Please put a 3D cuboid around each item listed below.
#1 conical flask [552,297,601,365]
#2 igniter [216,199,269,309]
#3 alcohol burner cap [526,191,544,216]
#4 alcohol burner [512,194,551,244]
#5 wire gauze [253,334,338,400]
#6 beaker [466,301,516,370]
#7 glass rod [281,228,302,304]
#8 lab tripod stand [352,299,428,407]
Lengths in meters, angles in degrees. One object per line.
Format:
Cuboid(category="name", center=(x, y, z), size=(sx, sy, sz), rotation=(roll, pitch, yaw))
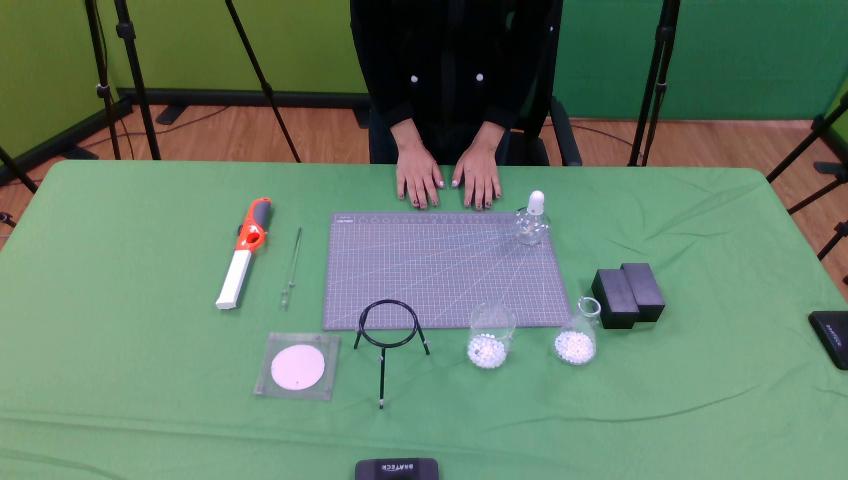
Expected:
Cuboid(category="conical flask", center=(0.261, 0.147, 1.009), size=(0.075, 0.122, 0.075), rotation=(2, 46, -2))
Cuboid(category="igniter", center=(-0.342, 0.016, 1.153), size=(0.057, 0.025, 0.275), rotation=(-3, 45, 7))
Cuboid(category="alcohol burner cap", center=(0.216, -0.073, 1.170), size=(0.034, 0.048, 0.033), rotation=(-1, 42, 1))
Cuboid(category="alcohol burner", center=(0.215, -0.048, 1.196), size=(0.078, 0.119, 0.077), rotation=(4, 46, -4))
Cuboid(category="wire gauze", center=(-0.209, 0.204, 0.996), size=(0.125, 0.011, 0.120), rotation=(3, 45, 1))
Cuboid(category="beaker", center=(0.106, 0.162, 0.998), size=(0.084, 0.101, 0.073), rotation=(-31, 55, -29))
Cuboid(category="glass rod", center=(-0.250, 0.045, 1.146), size=(0.008, 0.008, 0.198), rotation=(2, 43, -1))
Cuboid(category="lab tripod stand", center=(-0.056, 0.166, 0.958), size=(0.148, 0.132, 0.147), rotation=(3, 44, -2))
